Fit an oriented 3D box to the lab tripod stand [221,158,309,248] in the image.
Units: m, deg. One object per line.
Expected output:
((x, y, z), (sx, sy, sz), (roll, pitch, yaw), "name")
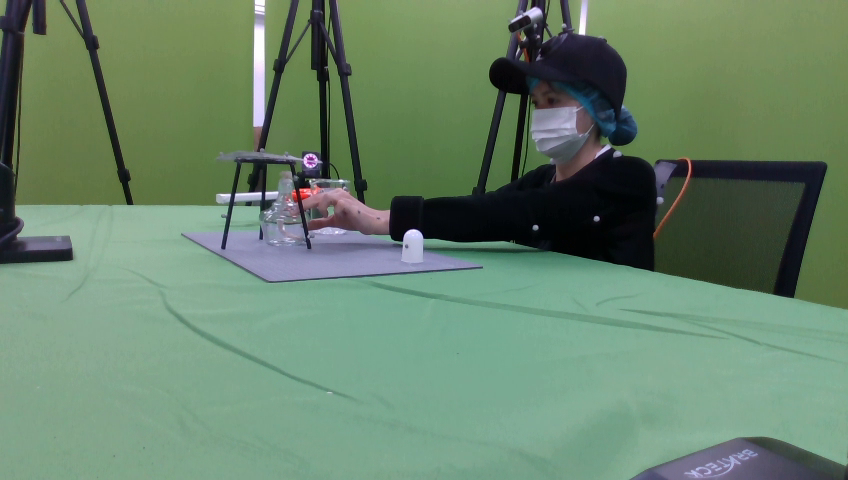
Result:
((-0.244, -0.057, 0.917), (0.148, 0.131, 0.148), (1, 7, 0), "lab tripod stand")

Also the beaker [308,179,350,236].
((-0.176, -0.060, 1.104), (0.073, 0.100, 0.084), (8, 10, 39), "beaker")

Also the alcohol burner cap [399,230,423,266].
((-0.017, 0.010, 0.837), (0.034, 0.048, 0.034), (3, 7, 0), "alcohol burner cap")

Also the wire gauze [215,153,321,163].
((-0.235, -0.123, 0.906), (0.126, 0.011, 0.121), (-2, 7, -33), "wire gauze")

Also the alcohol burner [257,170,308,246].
((-0.221, -0.050, 0.948), (0.078, 0.119, 0.078), (3, 5, 0), "alcohol burner")

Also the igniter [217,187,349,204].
((-0.285, -0.093, 1.256), (0.278, 0.025, 0.057), (-6, 12, -34), "igniter")
